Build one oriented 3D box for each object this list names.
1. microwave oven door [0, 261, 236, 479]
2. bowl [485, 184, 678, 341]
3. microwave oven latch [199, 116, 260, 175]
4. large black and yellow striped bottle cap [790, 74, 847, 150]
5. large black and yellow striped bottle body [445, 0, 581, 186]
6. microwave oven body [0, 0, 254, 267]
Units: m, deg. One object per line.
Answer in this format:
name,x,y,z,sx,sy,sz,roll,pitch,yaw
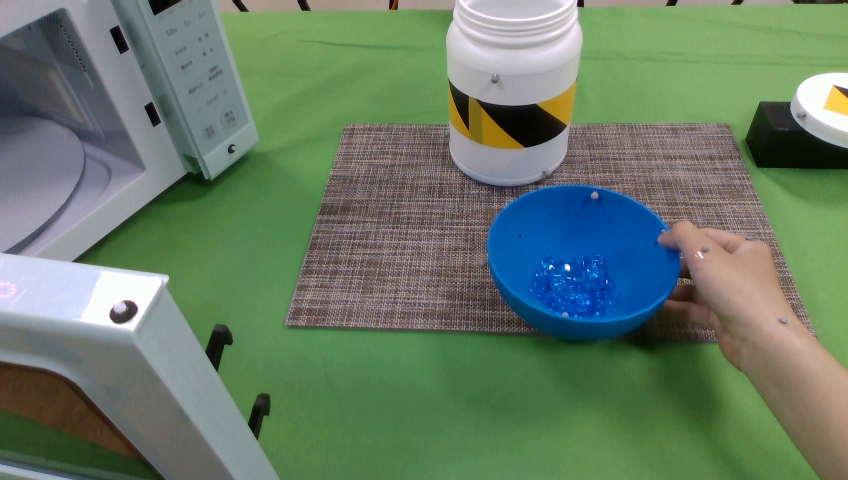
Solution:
microwave oven door,-0.269,0.086,0.351,0.355,0.246,0.039,6,47,10
bowl,0.125,0.031,0.507,0.151,0.077,0.150,-2,47,2
microwave oven latch,-0.218,-0.108,0.670,0.030,0.030,0.079,25,54,24
large black and yellow striped bottle cap,0.437,-0.131,0.615,0.115,0.019,0.114,-3,46,3
large black and yellow striped bottle body,0.088,-0.162,0.617,0.131,0.186,0.129,-2,47,2
microwave oven body,-0.443,-0.114,0.559,0.324,0.263,0.440,23,53,23
